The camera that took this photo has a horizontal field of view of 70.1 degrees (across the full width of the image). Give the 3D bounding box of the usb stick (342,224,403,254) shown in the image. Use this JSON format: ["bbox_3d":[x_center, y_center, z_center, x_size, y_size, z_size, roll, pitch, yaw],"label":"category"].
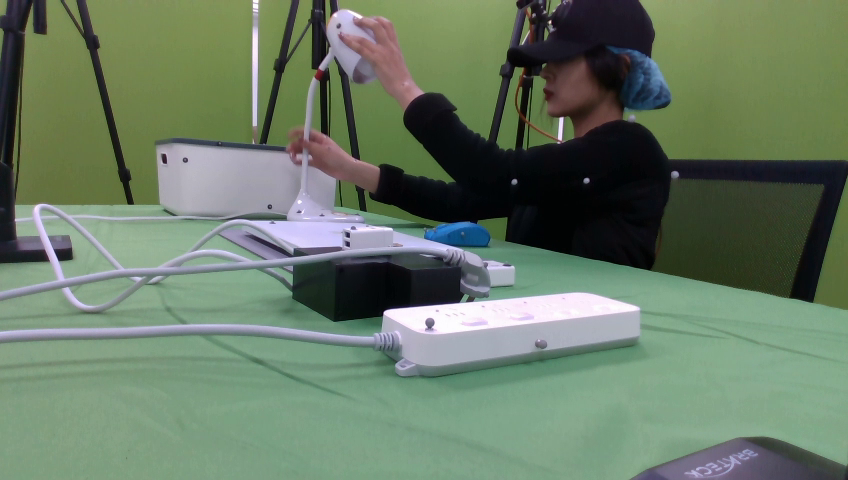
[{"bbox_3d":[-0.047,-0.001,0.567,0.059,0.027,0.021,0,5,-32],"label":"usb stick"}]

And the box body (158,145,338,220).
[{"bbox_3d":[-0.410,-0.139,1.414,0.366,0.160,0.253,-3,8,-33],"label":"box body"}]

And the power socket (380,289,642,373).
[{"bbox_3d":[0.072,0.064,0.461,0.228,0.032,0.072,-2,8,-30],"label":"power socket"}]

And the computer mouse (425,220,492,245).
[{"bbox_3d":[0.060,-0.013,1.060,0.117,0.041,0.062,-2,10,-6],"label":"computer mouse"}]

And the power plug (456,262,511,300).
[{"bbox_3d":[0.052,0.051,0.543,0.035,0.052,0.072,6,38,-20],"label":"power plug"}]

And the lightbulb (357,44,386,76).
[{"bbox_3d":[-0.114,-0.362,1.152,0.059,0.107,0.059,-32,-13,-8],"label":"lightbulb"}]

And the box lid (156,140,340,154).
[{"bbox_3d":[-0.409,-0.212,1.404,0.373,0.015,0.262,-2,8,-32],"label":"box lid"}]

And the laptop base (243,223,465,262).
[{"bbox_3d":[-0.126,0.003,0.946,0.237,0.023,0.352,2,6,-31],"label":"laptop base"}]

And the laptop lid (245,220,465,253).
[{"bbox_3d":[-0.124,-0.009,0.945,0.243,0.013,0.355,1,7,-29],"label":"laptop lid"}]

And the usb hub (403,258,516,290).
[{"bbox_3d":[0.042,0.038,0.690,0.126,0.025,0.049,-2,10,-30],"label":"usb hub"}]

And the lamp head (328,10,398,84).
[{"bbox_3d":[-0.131,-0.377,1.164,0.122,0.112,0.113,44,20,13],"label":"lamp head"}]

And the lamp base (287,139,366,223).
[{"bbox_3d":[-0.211,-0.120,1.249,0.178,0.180,0.161,2,6,27],"label":"lamp base"}]
